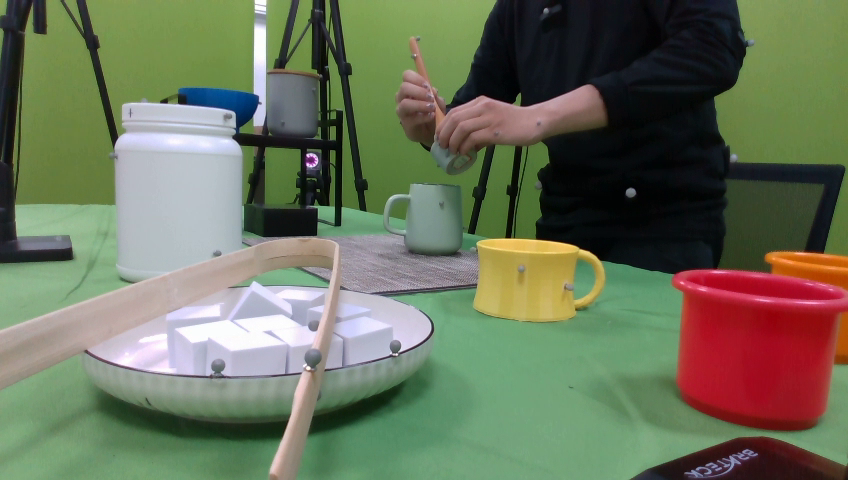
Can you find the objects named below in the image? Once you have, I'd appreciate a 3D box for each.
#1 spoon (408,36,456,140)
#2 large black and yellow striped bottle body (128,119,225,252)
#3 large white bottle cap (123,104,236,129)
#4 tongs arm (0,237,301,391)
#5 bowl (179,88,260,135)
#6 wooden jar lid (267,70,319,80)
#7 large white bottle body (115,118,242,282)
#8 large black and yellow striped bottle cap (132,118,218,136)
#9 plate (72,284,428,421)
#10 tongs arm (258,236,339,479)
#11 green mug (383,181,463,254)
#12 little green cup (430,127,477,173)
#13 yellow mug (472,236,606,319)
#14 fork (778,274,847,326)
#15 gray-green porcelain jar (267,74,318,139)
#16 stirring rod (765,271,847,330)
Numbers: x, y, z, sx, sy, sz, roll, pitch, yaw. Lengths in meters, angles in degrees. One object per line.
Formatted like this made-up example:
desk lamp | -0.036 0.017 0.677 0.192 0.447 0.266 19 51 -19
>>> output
spoon | 0.011 -0.207 0.874 0.042 0.193 0.021 -20 -11 -5
large black and yellow striped bottle body | -0.361 -0.081 0.887 0.131 0.184 0.130 2 8 0
large white bottle cap | -0.266 -0.135 0.663 0.115 0.018 0.115 3 7 0
tongs arm | -0.157 0.038 0.347 0.028 0.028 0.388 -2 8 11
bowl | -0.400 -0.248 1.188 0.151 0.077 0.151 2 6 0
wooden jar lid | -0.275 -0.340 1.271 0.108 0.020 0.108 5 6 0
large white bottle body | -0.270 -0.051 0.673 0.131 0.184 0.130 2 8 0
large black and yellow striped bottle cap | -0.359 -0.164 0.875 0.115 0.019 0.115 2 6 0
plate | -0.102 0.066 0.381 0.208 0.039 0.207 3 7 0
tongs arm | -0.074 0.040 0.345 0.051 0.026 0.384 -1 9 -3
green mug | -0.001 -0.036 0.922 0.126 0.105 0.092 0 8 -16
little green cup | 0.044 -0.125 0.856 0.062 0.038 0.061 -25 -25 -12
yellow mug | 0.114 0.034 0.590 0.131 0.064 0.100 2 6 -7
fork | 0.332 0.018 0.443 0.028 0.018 0.207 -3 -35 -16
gray-green porcelain jar | -0.277 -0.279 1.280 0.106 0.126 0.106 2 7 0
stirring rod | 0.352 0.020 0.481 0.176 0.006 0.014 -40 -8 17
